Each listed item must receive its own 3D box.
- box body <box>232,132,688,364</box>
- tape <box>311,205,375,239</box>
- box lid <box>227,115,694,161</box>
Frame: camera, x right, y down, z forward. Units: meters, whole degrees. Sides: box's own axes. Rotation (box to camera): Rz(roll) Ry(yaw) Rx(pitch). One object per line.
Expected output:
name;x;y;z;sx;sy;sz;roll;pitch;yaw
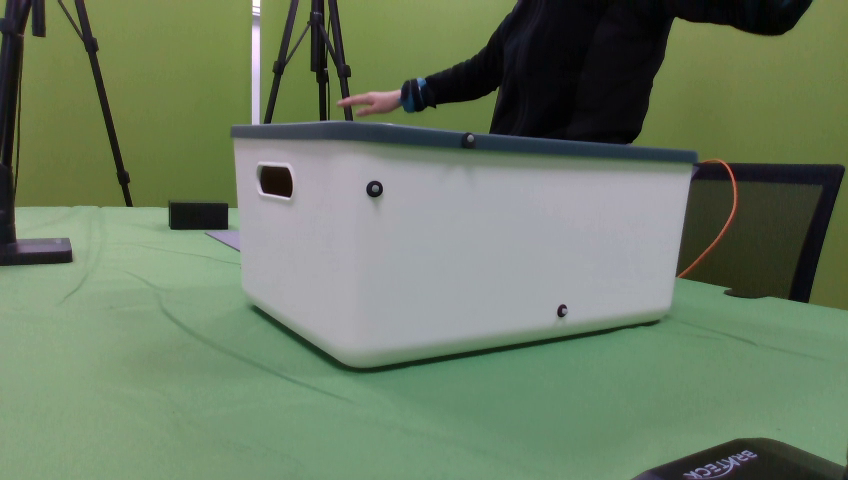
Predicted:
box body;0.031;-0.013;0.563;0.366;0.160;0.253;-3;8;-33
tape;-0.145;-0.034;1.097;0.117;0.052;0.117;3;8;0
box lid;0.032;-0.086;0.553;0.373;0.015;0.262;-2;8;-33
